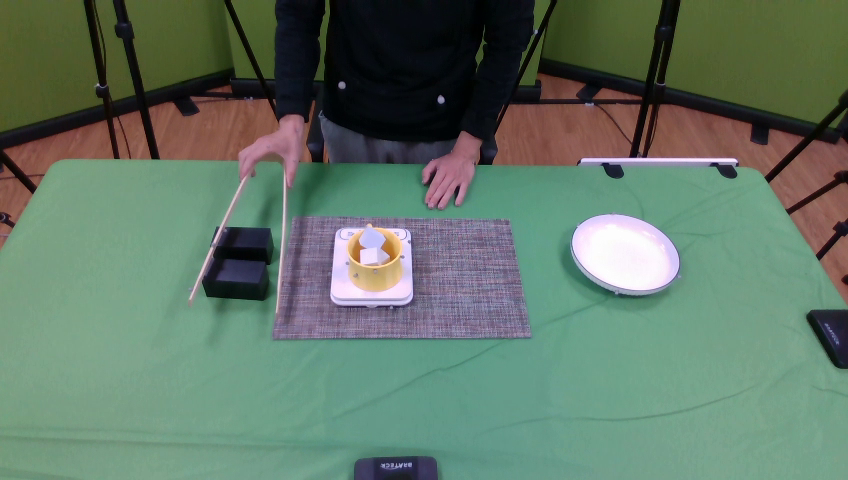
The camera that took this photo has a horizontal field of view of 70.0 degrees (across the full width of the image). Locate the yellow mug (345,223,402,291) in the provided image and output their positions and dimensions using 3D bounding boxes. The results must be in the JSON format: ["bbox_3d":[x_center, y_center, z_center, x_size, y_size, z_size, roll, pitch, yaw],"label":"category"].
[{"bbox_3d":[-0.092,0.022,1.093,0.100,0.064,0.130,-7,46,-10],"label":"yellow mug"}]

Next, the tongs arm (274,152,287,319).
[{"bbox_3d":[-0.273,-0.022,1.136,0.028,0.028,0.385,1,52,-11],"label":"tongs arm"}]

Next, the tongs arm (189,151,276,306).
[{"bbox_3d":[-0.346,-0.036,1.122,0.051,0.026,0.382,12,49,-7],"label":"tongs arm"}]

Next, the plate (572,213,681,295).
[{"bbox_3d":[0.392,0.030,1.189,0.208,0.039,0.206,2,46,-2],"label":"plate"}]

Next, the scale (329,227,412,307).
[{"bbox_3d":[-0.099,0.042,1.139,0.149,0.032,0.199,1,46,-4],"label":"scale"}]
